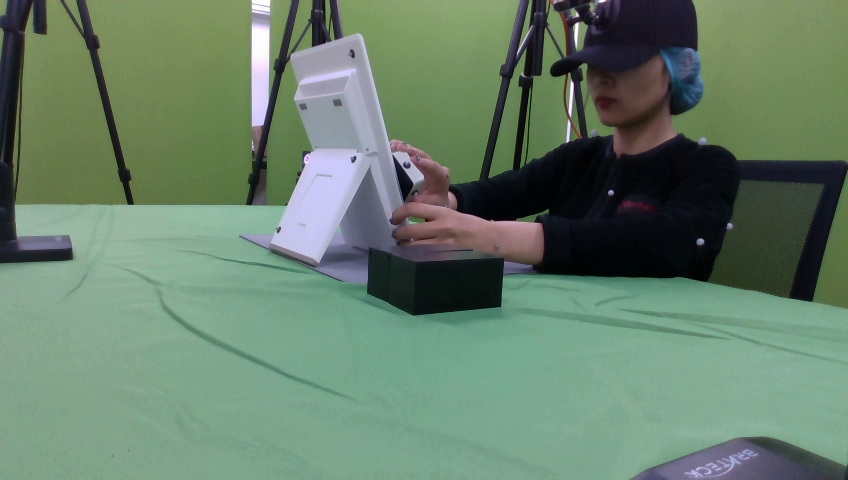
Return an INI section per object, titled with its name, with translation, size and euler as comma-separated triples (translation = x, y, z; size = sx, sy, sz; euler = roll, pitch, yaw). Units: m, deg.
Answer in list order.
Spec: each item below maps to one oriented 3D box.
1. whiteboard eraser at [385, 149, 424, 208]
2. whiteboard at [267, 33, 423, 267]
[whiteboard eraser]
translation = -0.040, -0.071, 0.829
size = 0.042, 0.055, 0.112
euler = -30, -14, -28
[whiteboard]
translation = -0.153, -0.097, 0.818
size = 0.144, 0.305, 0.216
euler = -24, 20, -28
